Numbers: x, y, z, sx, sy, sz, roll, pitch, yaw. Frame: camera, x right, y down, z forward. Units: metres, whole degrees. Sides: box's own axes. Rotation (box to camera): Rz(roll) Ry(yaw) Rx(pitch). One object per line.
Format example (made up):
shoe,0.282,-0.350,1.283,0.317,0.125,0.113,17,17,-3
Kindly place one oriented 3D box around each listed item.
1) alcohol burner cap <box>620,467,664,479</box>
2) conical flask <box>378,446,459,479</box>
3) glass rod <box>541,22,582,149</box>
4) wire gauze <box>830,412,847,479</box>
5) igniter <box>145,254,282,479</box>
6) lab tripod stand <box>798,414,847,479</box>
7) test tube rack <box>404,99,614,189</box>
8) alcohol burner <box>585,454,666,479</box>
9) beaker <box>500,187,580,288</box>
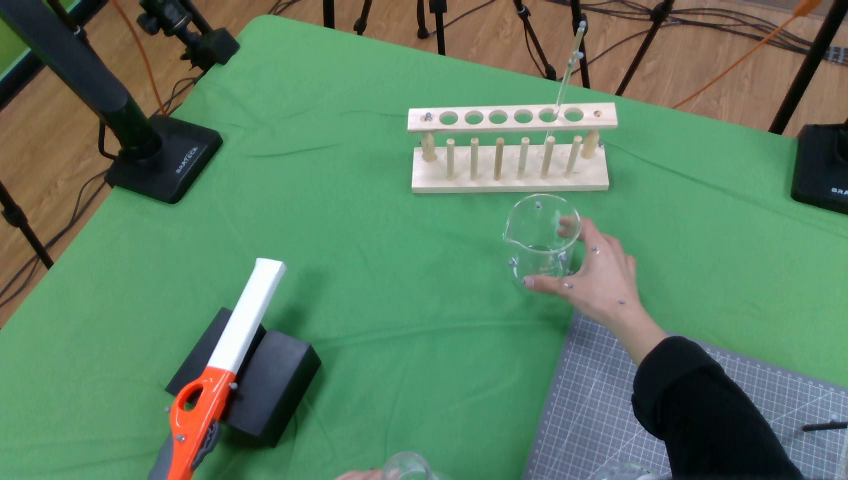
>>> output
alcohol burner cap,0.174,0.198,0.483,0.034,0.048,0.033,0,53,0
conical flask,-0.007,0.204,0.493,0.075,0.123,0.074,-5,53,7
glass rod,0.153,-0.163,0.683,0.008,0.201,0.008,0,60,0
wire gauze,0.366,0.167,0.438,0.121,0.011,0.124,23,64,16
igniter,-0.207,0.134,0.594,0.057,0.025,0.274,9,59,15
lab tripod stand,0.362,0.202,0.496,0.148,0.132,0.147,-1,59,2
test tube rack,0.100,-0.115,0.737,0.242,0.086,0.066,0,60,4
alcohol burner,0.177,0.218,0.514,0.078,0.120,0.077,-1,59,2
beaker,0.121,0.003,0.657,0.084,0.101,0.073,-19,59,-6
